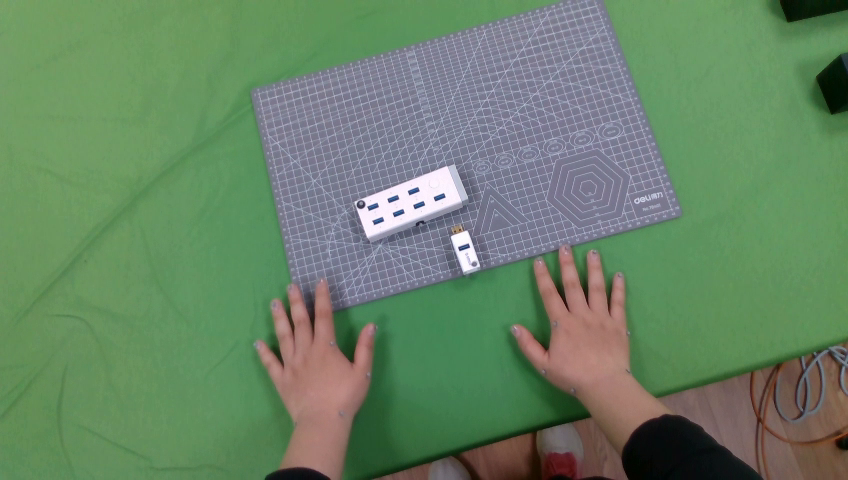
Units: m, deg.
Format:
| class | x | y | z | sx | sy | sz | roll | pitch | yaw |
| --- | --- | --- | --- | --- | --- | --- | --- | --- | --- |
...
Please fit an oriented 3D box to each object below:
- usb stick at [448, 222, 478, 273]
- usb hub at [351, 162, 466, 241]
| class | x | y | z | sx | sy | sz | roll | pitch | yaw |
| --- | --- | --- | --- | --- | --- | --- | --- | --- | --- |
| usb stick | 0.042 | 0.006 | 0.682 | 0.021 | 0.027 | 0.059 | -20 | 73 | 3 |
| usb hub | -0.018 | -0.045 | 0.698 | 0.125 | 0.025 | 0.049 | -21 | 76 | -1 |
